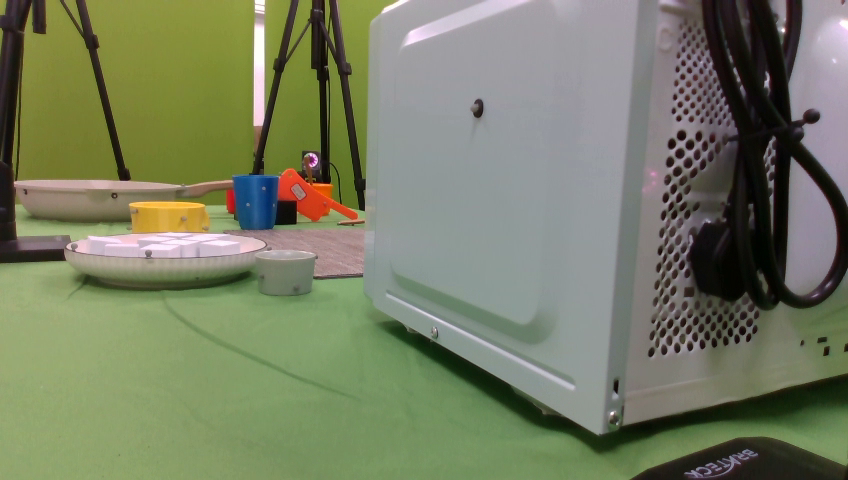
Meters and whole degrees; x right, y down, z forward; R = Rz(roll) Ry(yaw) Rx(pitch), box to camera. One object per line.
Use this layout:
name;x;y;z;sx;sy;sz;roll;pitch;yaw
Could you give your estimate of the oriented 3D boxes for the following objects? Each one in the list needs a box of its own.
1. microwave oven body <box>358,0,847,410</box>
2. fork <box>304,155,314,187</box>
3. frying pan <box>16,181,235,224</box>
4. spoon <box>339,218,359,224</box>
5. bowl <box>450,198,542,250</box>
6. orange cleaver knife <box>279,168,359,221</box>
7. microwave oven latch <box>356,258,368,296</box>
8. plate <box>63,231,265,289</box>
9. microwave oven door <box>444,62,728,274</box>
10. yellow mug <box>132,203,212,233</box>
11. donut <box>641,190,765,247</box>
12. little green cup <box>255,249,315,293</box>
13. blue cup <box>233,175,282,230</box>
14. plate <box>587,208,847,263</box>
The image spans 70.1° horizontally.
microwave oven body;0.210;-0.051;0.472;0.444;0.260;0.324;-1;7;-28
fork;-0.268;-0.134;1.446;0.028;0.018;0.207;2;-36;-1
frying pan;-0.554;-0.097;1.266;0.490;0.102;0.305;-10;13;-24
spoon;-0.087;-0.041;1.268;0.193;0.021;0.041;3;18;14
bowl;0.115;-0.026;0.988;0.151;0.077;0.151;2;7;0
orange cleaver knife;-0.236;-0.084;1.333;0.212;0.077;0.012;31;-9;-32
microwave oven latch;-0.019;0.031;0.528;0.079;0.029;0.030;-1;7;-24
plate;-0.288;0.021;0.687;0.208;0.039;0.207;2;8;0
microwave oven door;0.189;-0.097;0.787;0.354;0.243;0.039;6;9;31
yellow mug;-0.356;-0.020;0.878;0.099;0.064;0.131;5;7;22
donut;0.237;-0.018;0.520;0.099;0.048;0.099;5;4;0
little green cup;-0.144;0.031;0.627;0.061;0.038;0.061;2;6;0
blue cup;-0.314;-0.071;1.141;0.093;0.100;0.092;0;7;0
plate;0.244;-0.006;0.509;0.209;0.038;0.209;2;3;0
